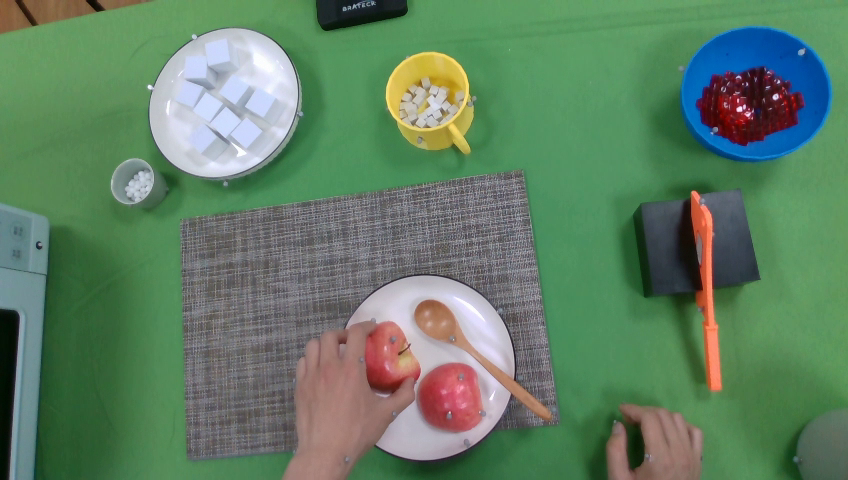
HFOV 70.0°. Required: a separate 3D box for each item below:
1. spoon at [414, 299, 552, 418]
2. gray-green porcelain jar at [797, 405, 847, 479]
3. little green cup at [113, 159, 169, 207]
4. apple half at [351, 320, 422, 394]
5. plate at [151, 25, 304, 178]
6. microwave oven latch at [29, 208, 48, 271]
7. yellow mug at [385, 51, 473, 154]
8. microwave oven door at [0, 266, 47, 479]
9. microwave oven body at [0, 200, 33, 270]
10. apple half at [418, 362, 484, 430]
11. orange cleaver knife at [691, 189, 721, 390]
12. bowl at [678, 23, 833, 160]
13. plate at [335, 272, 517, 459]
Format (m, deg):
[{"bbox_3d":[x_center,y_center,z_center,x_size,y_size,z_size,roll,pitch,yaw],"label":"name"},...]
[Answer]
[{"bbox_3d":[0.063,0.131,0.674,0.192,0.022,0.041,38,75,26],"label":"spoon"},{"bbox_3d":[0.428,0.212,0.572,0.105,0.127,0.105,-2,79,10],"label":"gray-green porcelain jar"},{"bbox_3d":[-0.370,-0.072,0.797,0.061,0.039,0.061,-1,81,8],"label":"little green cup"},{"bbox_3d":[-0.050,0.136,0.672,0.074,0.053,0.081,-22,92,45],"label":"apple half"},{"bbox_3d":[-0.254,-0.178,0.799,0.207,0.039,0.207,-2,80,9],"label":"plate"},{"bbox_3d":[-0.511,0.000,0.789,0.030,0.029,0.079,-4,80,8],"label":"microwave oven latch"},{"bbox_3d":[0.017,-0.157,0.736,0.100,0.064,0.130,-36,77,1],"label":"yellow mug"},{"bbox_3d":[-0.520,0.196,0.651,0.039,0.245,0.354,-5,79,9],"label":"microwave oven door"},{"bbox_3d":[-0.665,0.167,0.686,0.325,0.261,0.440,-4,80,8],"label":"microwave oven body"},{"bbox_3d":[0.028,0.176,0.679,0.081,0.033,0.081,-2,77,9],"label":"apple half"},{"bbox_3d":[0.298,0.053,0.644,0.012,0.077,0.212,-7,103,12],"label":"orange cleaver knife"},{"bbox_3d":[0.354,-0.152,0.673,0.151,0.077,0.151,-2,80,9],"label":"bowl"},{"bbox_3d":[0.002,0.142,0.696,0.209,0.038,0.208,-1,81,9],"label":"plate"}]
